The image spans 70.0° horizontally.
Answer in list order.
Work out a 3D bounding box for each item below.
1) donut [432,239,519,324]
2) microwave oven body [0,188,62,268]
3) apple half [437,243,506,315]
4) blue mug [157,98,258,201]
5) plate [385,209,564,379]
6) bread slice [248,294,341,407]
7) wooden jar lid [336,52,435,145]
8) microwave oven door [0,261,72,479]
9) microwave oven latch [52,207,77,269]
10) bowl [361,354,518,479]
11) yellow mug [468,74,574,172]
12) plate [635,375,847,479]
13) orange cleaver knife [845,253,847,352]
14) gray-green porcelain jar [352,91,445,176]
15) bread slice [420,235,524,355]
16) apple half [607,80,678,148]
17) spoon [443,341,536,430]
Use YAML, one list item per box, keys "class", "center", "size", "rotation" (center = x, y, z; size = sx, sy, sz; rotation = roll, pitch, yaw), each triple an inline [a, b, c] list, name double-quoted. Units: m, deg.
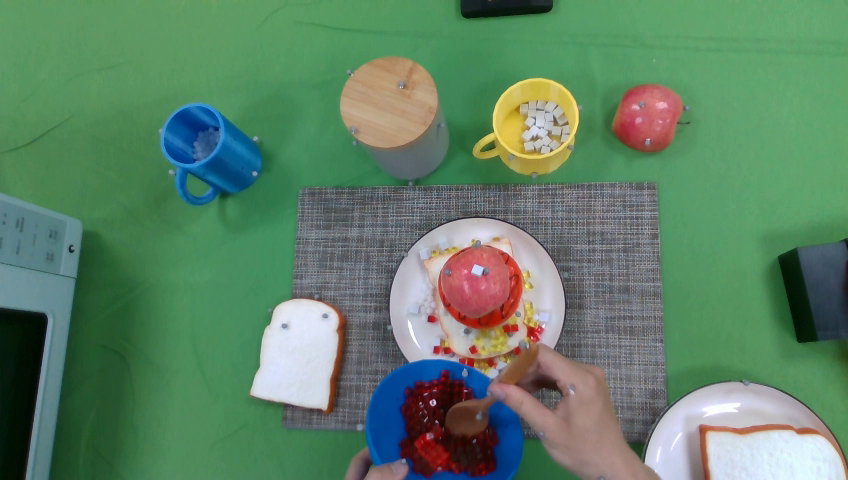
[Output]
- class: "donut"
  center: [0.059, 0.048, 0.689]
  size: [0.099, 0.048, 0.098]
  rotation: [-2, 80, 9]
- class: "microwave oven body"
  center: [-0.644, 0.152, 0.688]
  size: [0.325, 0.261, 0.440]
  rotation: [0, 80, 8]
- class: "apple half"
  center: [0.051, 0.040, 0.655]
  size: [0.081, 0.033, 0.081]
  rotation: [-4, 76, 15]
- class: "blue mug"
  center: [-0.277, -0.104, 0.765]
  size: [0.082, 0.106, 0.116]
  rotation: [21, 83, 12]
- class: "plate"
  center: [0.058, 0.069, 0.714]
  size: [0.207, 0.039, 0.207]
  rotation: [-2, 79, 8]
- class: "bread slice"
  center: [-0.158, 0.132, 0.746]
  size: [0.104, 0.019, 0.131]
  rotation: [8, 82, 9]
- class: "wooden jar lid"
  center: [-0.042, -0.153, 0.663]
  size: [0.108, 0.021, 0.108]
  rotation: [-1, 77, 6]
- class: "microwave oven door"
  center: [-0.502, 0.193, 0.654]
  size: [0.039, 0.245, 0.354]
  rotation: [0, 79, 9]
- class: "microwave oven latch"
  center: [-0.478, -0.002, 0.792]
  size: [0.030, 0.029, 0.079]
  rotation: [4, 81, 9]
- class: "bowl"
  center: [0.009, 0.195, 0.589]
  size: [0.152, 0.077, 0.150]
  rotation: [9, 42, -7]
- class: "yellow mug"
  center: [0.115, -0.134, 0.733]
  size: [0.131, 0.064, 0.099]
  rotation: [-22, 77, 5]
- class: "plate"
  center: [0.330, 0.248, 0.643]
  size: [0.209, 0.038, 0.208]
  rotation: [-2, 79, 9]
- class: "orange cleaver knife"
  center: [0.464, 0.116, 0.626]
  size: [0.012, 0.077, 0.212]
  rotation: [-11, 100, 0]
- class: "gray-green porcelain jar"
  center: [-0.031, -0.140, 0.725]
  size: [0.106, 0.127, 0.105]
  rotation: [-2, 79, 8]
- class: "bread slice"
  center: [0.064, 0.068, 0.716]
  size: [0.107, 0.018, 0.133]
  rotation: [-16, 77, 6]
- class: "apple half"
  center: [0.262, -0.156, 0.722]
  size: [0.074, 0.053, 0.080]
  rotation: [23, 84, 15]
- class: "spoon"
  center: [0.059, 0.135, 0.543]
  size: [0.041, 0.194, 0.021]
  rotation: [24, 55, -2]
